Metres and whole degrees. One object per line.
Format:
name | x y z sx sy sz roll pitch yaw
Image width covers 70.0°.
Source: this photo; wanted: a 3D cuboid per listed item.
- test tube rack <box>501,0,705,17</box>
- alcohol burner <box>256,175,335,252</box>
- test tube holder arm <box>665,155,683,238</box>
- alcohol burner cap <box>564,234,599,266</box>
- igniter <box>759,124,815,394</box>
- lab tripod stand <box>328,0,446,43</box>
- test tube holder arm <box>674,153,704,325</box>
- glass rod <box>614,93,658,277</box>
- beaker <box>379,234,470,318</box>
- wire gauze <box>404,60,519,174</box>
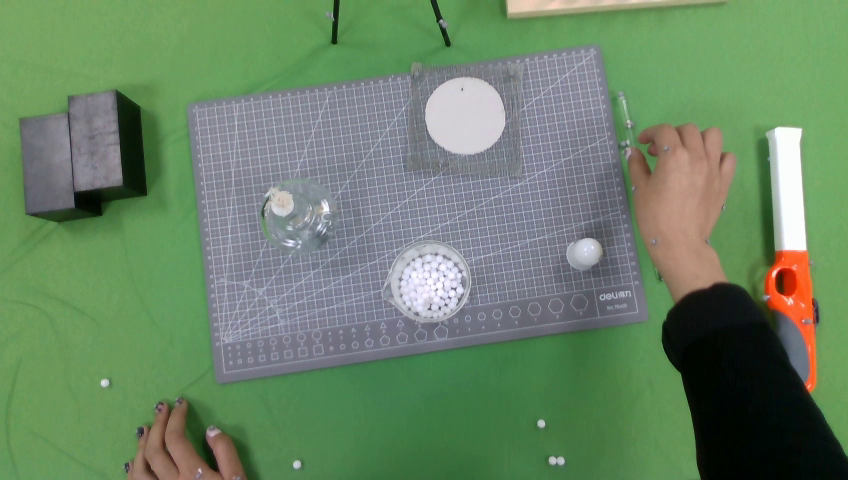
test tube rack | 0.203 -0.292 0.627 0.242 0.085 0.066 -5 83 0
alcohol burner | -0.129 -0.029 0.587 0.078 0.119 0.077 0 83 3
test tube holder arm | 0.265 -0.045 0.636 0.010 0.015 0.087 -10 82 38
alcohol burner cap | 0.162 0.008 0.615 0.034 0.048 0.034 0 83 2
igniter | 0.369 0.017 0.621 0.057 0.025 0.276 1 84 -9
lab tripod stand | -0.041 -0.259 0.603 0.148 0.131 0.148 0 85 1
test tube holder arm | 0.274 -0.002 0.627 0.013 0.015 0.178 -10 82 38
glass rod | 0.224 -0.059 0.641 0.008 0.008 0.199 -11 86 -1
beaker | 0.001 0.040 0.585 0.084 0.100 0.074 -16 83 0
wire gauze | 0.041 -0.133 0.649 0.125 0.011 0.121 3 85 0
